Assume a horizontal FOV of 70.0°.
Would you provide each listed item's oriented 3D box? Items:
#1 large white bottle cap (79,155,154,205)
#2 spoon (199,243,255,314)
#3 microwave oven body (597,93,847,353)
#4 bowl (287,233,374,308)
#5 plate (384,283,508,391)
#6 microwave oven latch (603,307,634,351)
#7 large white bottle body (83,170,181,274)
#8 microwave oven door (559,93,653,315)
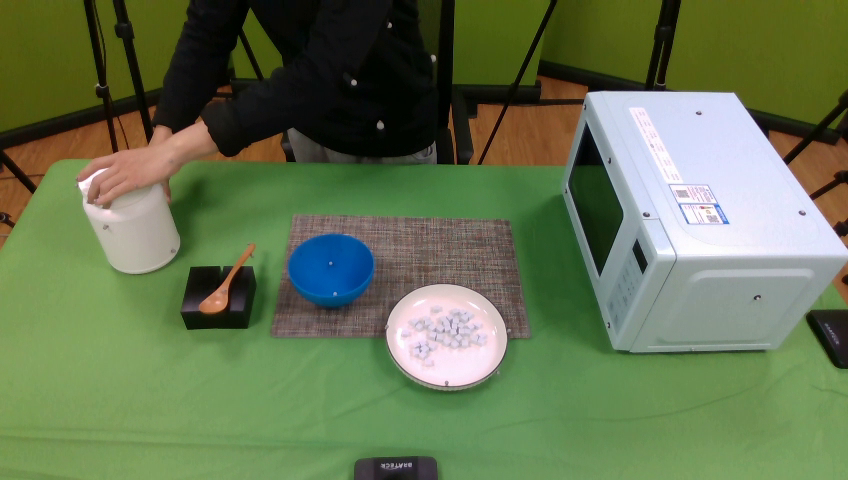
[{"bbox_3d":[-0.520,-0.103,1.027,0.115,0.018,0.114,2,47,-2],"label":"large white bottle cap"},{"bbox_3d":[-0.333,0.062,1.051,0.041,0.022,0.193,6,40,9],"label":"spoon"},{"bbox_3d":[0.475,-0.041,1.109,0.326,0.261,0.438,-1,45,-4],"label":"microwave oven body"},{"bbox_3d":[-0.165,0.068,1.078,0.151,0.077,0.150,3,46,-3],"label":"bowl"},{"bbox_3d":[0.036,0.166,1.028,0.209,0.038,0.208,2,49,-2],"label":"plate"},{"bbox_3d":[0.332,0.153,1.044,0.030,0.029,0.078,0,45,-4],"label":"microwave oven latch"},{"bbox_3d":[-0.524,-0.044,1.088,0.131,0.185,0.130,2,45,-2],"label":"large white bottle body"},{"bbox_3d":[0.327,-0.074,1.123,0.039,0.245,0.353,-1,46,-5],"label":"microwave oven door"}]
